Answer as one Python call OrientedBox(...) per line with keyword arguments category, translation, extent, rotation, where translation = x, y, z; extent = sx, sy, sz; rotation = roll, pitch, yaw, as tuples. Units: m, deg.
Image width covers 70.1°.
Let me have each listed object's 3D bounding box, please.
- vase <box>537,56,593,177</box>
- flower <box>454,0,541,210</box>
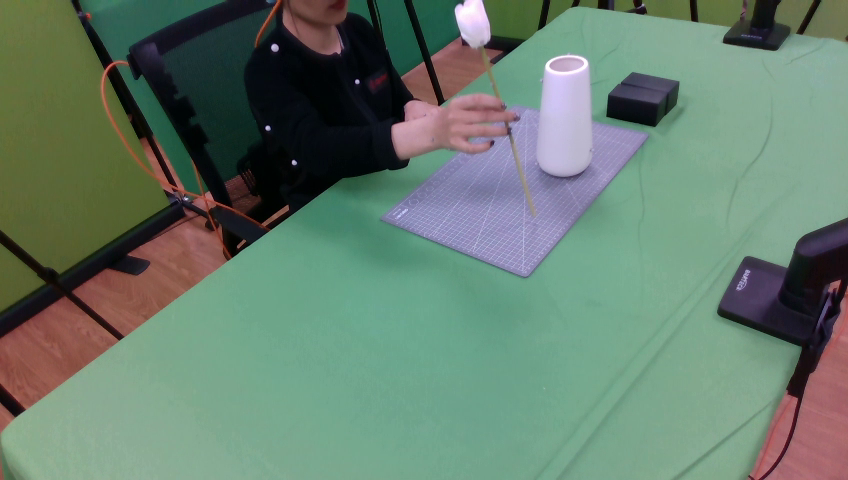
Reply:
OrientedBox(category="vase", translation=(0.245, -0.209, 1.040), extent=(0.098, 0.201, 0.097), rotation=(-4, 40, 4))
OrientedBox(category="flower", translation=(0.121, -0.180, 0.884), extent=(0.038, 0.364, 0.044), rotation=(5, 48, 37))
